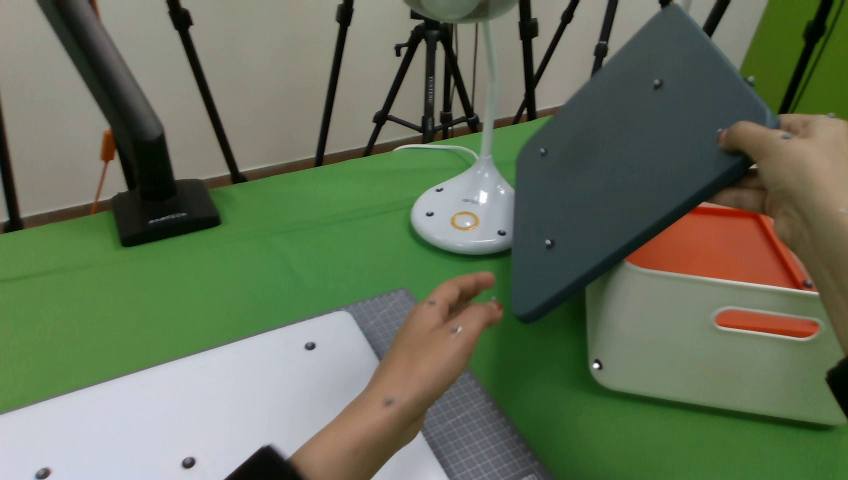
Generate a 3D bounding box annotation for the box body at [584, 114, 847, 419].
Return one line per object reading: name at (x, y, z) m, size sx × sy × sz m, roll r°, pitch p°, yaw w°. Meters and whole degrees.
box body at (0.308, -0.002, 0.654) m, size 0.254 × 0.162 × 0.361 m, roll 7°, pitch 36°, yaw 8°

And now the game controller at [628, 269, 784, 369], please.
game controller at (0.287, 0.078, 0.617) m, size 0.155 × 0.052 × 0.096 m, roll 2°, pitch 64°, yaw 2°

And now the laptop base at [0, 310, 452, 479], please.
laptop base at (-0.183, 0.182, 0.488) m, size 0.355 × 0.023 × 0.233 m, roll -16°, pitch 43°, yaw -24°

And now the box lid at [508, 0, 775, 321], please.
box lid at (0.182, -0.098, 0.613) m, size 0.015 × 0.263 × 0.368 m, roll 36°, pitch 32°, yaw -15°

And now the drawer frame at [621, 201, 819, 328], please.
drawer frame at (0.286, 0.044, 0.645) m, size 0.201 × 0.083 × 0.212 m, roll 4°, pitch 34°, yaw 4°

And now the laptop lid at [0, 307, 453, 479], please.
laptop lid at (-0.182, 0.174, 0.479) m, size 0.358 × 0.013 × 0.239 m, roll -15°, pitch 41°, yaw -22°

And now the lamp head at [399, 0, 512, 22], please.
lamp head at (0.031, -0.274, 0.542) m, size 0.112 × 0.113 × 0.122 m, roll 5°, pitch 75°, yaw 4°

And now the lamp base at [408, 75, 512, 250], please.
lamp base at (0.063, -0.106, 0.771) m, size 0.160 × 0.181 × 0.178 m, roll 7°, pitch 34°, yaw 7°

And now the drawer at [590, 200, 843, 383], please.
drawer at (0.289, 0.044, 0.644) m, size 0.194 × 0.074 × 0.210 m, roll 6°, pitch 35°, yaw 4°
